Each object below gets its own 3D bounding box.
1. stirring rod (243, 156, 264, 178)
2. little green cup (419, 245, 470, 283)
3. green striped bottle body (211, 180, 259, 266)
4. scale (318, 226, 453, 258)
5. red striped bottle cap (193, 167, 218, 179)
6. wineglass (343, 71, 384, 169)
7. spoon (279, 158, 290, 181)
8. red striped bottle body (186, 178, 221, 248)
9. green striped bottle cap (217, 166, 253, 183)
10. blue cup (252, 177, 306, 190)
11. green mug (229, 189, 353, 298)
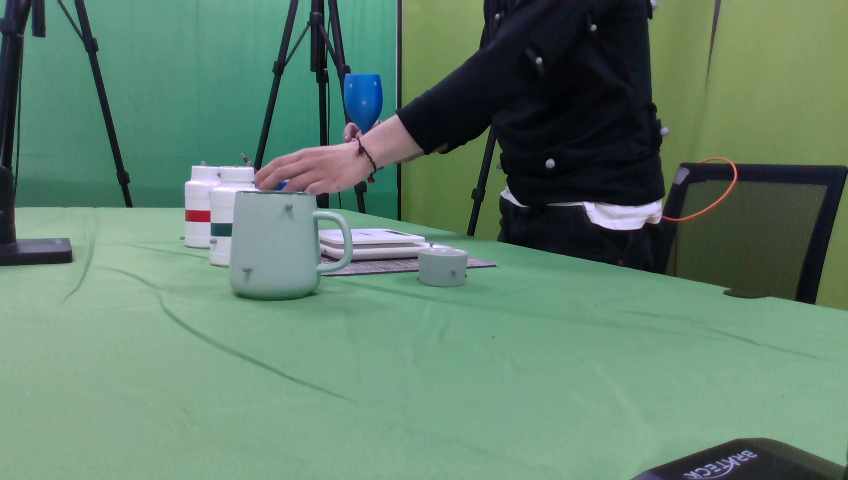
[{"bbox_3d":[-0.304,-0.099,1.201,0.006,0.177,0.014,-27,38,7],"label":"stirring rod"},{"bbox_3d":[0.023,0.028,0.712,0.061,0.038,0.061,1,6,0],"label":"little green cup"},{"bbox_3d":[-0.243,-0.029,0.784,0.063,0.119,0.063,2,7,0],"label":"green striped bottle body"},{"bbox_3d":[-0.067,0.001,0.906,0.202,0.031,0.148,-2,8,-31],"label":"scale"},{"bbox_3d":[-0.329,-0.103,0.921,0.044,0.017,0.044,-1,9,1],"label":"red striped bottle cap"},{"bbox_3d":[-0.110,-0.221,1.117,0.074,0.172,0.073,-2,16,1],"label":"wineglass"},{"bbox_3d":[-0.281,-0.103,1.251,0.042,0.193,0.021,8,-41,-30],"label":"spoon"},{"bbox_3d":[-0.331,-0.050,0.927,0.063,0.119,0.063,2,7,0],"label":"red striped bottle body"},{"bbox_3d":[-0.242,-0.085,0.777,0.044,0.020,0.044,2,9,0],"label":"green striped bottle cap"},{"bbox_3d":[-0.228,-0.042,0.929,0.093,0.100,0.092,6,5,0],"label":"blue cup"},{"bbox_3d":[-0.135,0.002,0.618,0.125,0.105,0.092,2,7,4],"label":"green mug"}]
